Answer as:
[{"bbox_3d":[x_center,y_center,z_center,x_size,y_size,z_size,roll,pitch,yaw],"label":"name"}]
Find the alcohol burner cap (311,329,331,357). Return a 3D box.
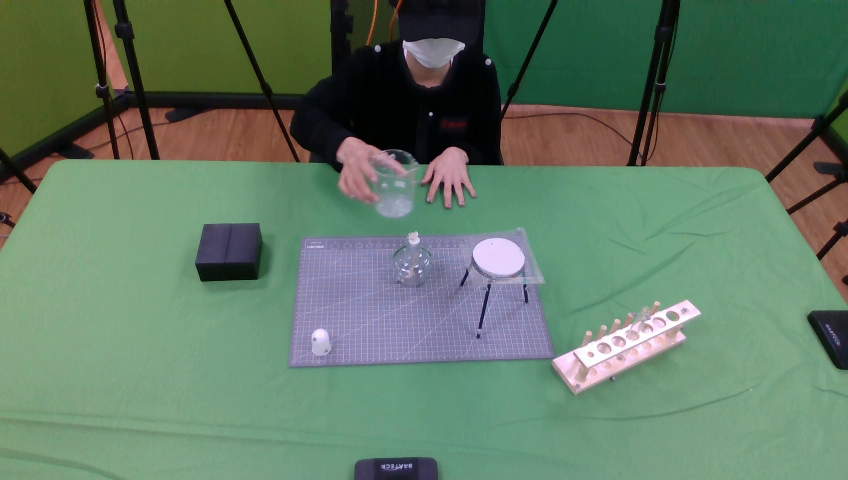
[{"bbox_3d":[-0.173,0.168,1.004,0.034,0.048,0.033,2,46,-2],"label":"alcohol burner cap"}]

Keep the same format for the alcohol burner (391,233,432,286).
[{"bbox_3d":[-0.022,0.028,1.102,0.078,0.119,0.077,2,48,-2],"label":"alcohol burner"}]

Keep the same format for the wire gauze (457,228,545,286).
[{"bbox_3d":[0.126,0.029,1.006,0.125,0.011,0.120,-4,46,-10],"label":"wire gauze"}]

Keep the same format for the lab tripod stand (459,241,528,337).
[{"bbox_3d":[0.122,0.075,1.054,0.148,0.132,0.147,3,44,-3],"label":"lab tripod stand"}]

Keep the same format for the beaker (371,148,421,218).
[{"bbox_3d":[-0.047,-0.094,1.033,0.084,0.101,0.073,3,45,2],"label":"beaker"}]

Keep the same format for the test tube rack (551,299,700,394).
[{"bbox_3d":[0.339,0.166,1.021,0.242,0.085,0.066,-19,50,-21],"label":"test tube rack"}]

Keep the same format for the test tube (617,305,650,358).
[{"bbox_3d":[0.333,0.149,0.967,0.017,0.151,0.017,0,52,1],"label":"test tube"}]
